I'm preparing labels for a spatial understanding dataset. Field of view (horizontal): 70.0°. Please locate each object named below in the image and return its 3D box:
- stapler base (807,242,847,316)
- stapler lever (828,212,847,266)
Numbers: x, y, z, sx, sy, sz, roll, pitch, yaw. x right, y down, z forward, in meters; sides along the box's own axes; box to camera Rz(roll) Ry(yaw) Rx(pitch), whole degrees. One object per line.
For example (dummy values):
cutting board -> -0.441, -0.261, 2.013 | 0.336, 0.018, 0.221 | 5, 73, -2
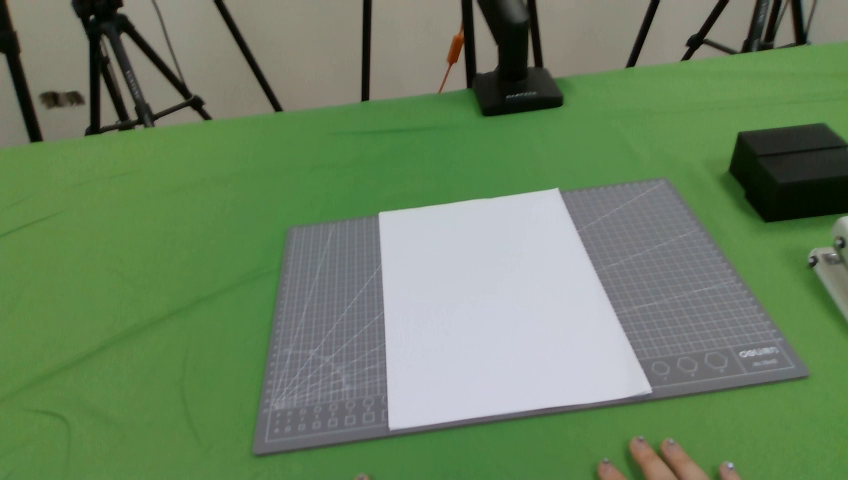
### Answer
stapler base -> 0.390, 0.040, 0.542 | 0.041, 0.025, 0.129 | -4, 41, 7
stapler lever -> 0.388, 0.021, 0.524 | 0.027, 0.040, 0.117 | -4, 41, 7
